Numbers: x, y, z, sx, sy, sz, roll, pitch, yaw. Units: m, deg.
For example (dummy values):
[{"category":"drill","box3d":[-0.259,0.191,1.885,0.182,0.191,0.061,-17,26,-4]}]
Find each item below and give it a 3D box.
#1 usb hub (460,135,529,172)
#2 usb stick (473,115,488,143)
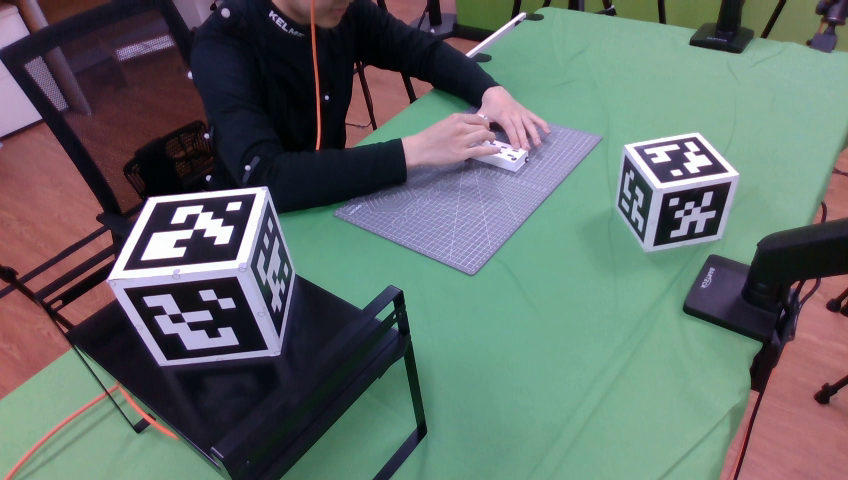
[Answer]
[{"category":"usb hub","box3d":[0.132,-0.164,1.138,0.124,0.025,0.049,22,49,30]},{"category":"usb stick","box3d":[0.106,-0.202,1.133,0.021,0.059,0.027,22,54,25]}]
